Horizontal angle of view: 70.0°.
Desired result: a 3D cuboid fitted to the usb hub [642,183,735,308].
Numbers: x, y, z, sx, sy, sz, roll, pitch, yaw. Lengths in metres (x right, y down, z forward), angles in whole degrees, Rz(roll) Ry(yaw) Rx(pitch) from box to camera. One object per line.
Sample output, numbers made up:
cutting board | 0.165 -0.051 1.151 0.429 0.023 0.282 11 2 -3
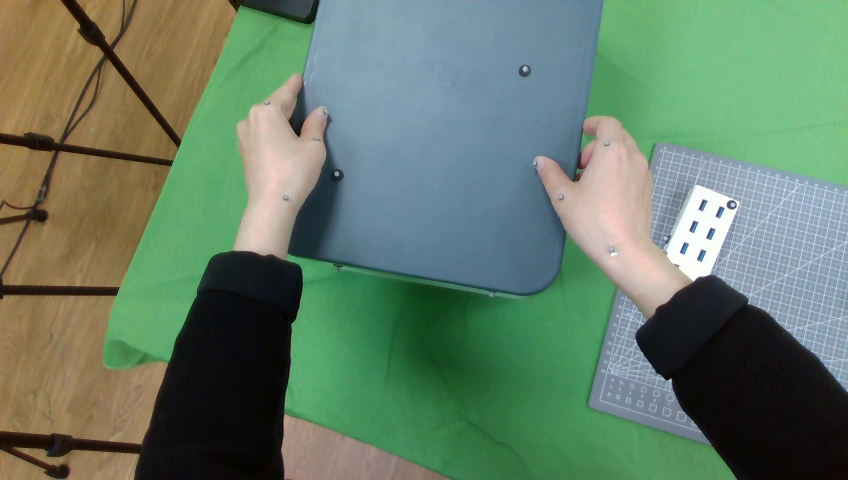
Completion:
usb hub | 0.278 0.006 0.637 0.049 0.025 0.125 25 85 9

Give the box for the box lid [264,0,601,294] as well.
box lid | 0.014 -0.147 0.549 0.263 0.015 0.370 10 81 8

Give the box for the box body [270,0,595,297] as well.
box body | 0.023 -0.135 0.622 0.254 0.161 0.363 9 82 8
